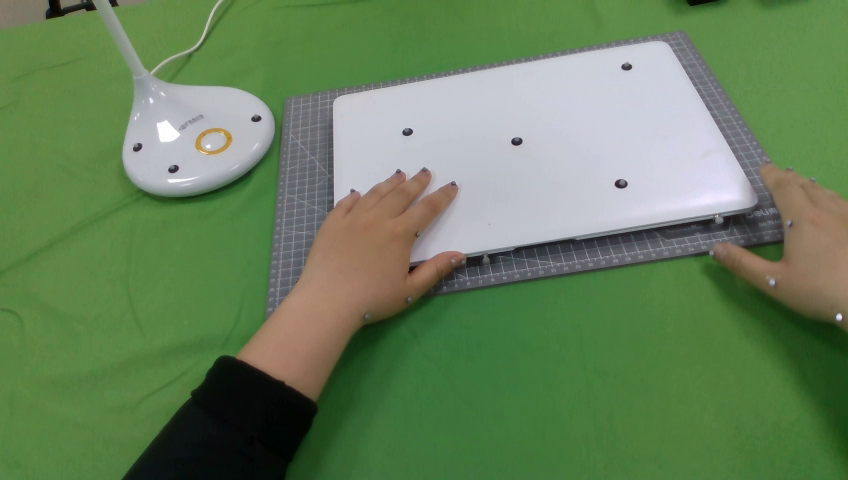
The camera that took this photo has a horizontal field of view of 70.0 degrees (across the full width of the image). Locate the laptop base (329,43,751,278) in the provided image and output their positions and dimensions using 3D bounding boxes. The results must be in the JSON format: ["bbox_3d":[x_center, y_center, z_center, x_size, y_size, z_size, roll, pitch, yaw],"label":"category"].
[{"bbox_3d":[0.086,-0.083,0.573,0.354,0.023,0.233,-9,54,2],"label":"laptop base"}]

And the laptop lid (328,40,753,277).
[{"bbox_3d":[0.084,-0.089,0.562,0.357,0.013,0.239,-8,53,3],"label":"laptop lid"}]

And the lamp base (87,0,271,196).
[{"bbox_3d":[-0.261,-0.159,0.588,0.178,0.182,0.160,23,58,28],"label":"lamp base"}]
